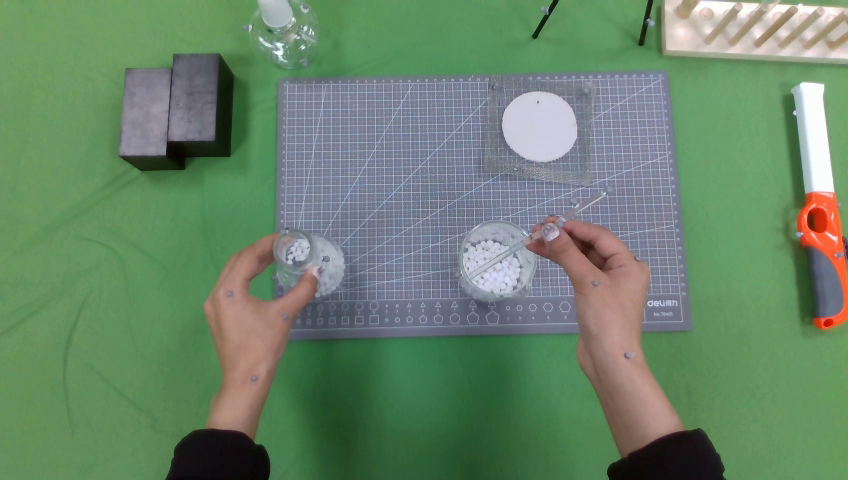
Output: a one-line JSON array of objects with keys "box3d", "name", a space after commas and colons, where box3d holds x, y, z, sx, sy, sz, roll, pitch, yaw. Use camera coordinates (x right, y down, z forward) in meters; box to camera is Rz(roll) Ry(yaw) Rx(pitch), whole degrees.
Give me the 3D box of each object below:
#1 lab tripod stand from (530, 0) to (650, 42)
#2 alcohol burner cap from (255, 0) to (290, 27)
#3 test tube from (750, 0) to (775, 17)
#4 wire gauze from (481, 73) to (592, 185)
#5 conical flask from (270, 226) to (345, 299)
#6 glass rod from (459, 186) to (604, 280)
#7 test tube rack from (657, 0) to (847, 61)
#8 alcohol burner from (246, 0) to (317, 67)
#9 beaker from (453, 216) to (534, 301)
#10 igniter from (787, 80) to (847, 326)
[{"box3d": [0.191, -0.283, 0.655, 0.148, 0.132, 0.148, 0, 82, 0], "name": "lab tripod stand"}, {"box3d": [-0.158, -0.246, 0.620, 0.034, 0.048, 0.033, 0, 73, -1], "name": "alcohol burner cap"}, {"box3d": [0.380, -0.278, 0.630, 0.017, 0.151, 0.017, 0, 79, 3], "name": "test tube"}, {"box3d": [0.129, -0.129, 0.689, 0.125, 0.011, 0.121, 7, 80, -2], "name": "wire gauze"}, {"box3d": [-0.121, 0.017, 0.602, 0.075, 0.122, 0.075, 0, 80, -2], "name": "conical flask"}, {"box3d": [0.086, -0.001, 0.540, 0.008, 0.200, 0.008, 15, 59, -27], "name": "glass rod"}, {"box3d": [0.397, -0.254, 0.676, 0.242, 0.085, 0.066, 2, 79, 0], "name": "test tube rack"}, {"box3d": [-0.158, -0.237, 0.655, 0.078, 0.119, 0.077, 0, 81, 2], "name": "alcohol burner"}, {"box3d": [0.069, 0.025, 0.615, 0.074, 0.100, 0.083, -37, 82, -6], "name": "beaker"}, {"box3d": [0.433, -0.044, 0.669, 0.057, 0.025, 0.275, 2, 80, -10], "name": "igniter"}]
